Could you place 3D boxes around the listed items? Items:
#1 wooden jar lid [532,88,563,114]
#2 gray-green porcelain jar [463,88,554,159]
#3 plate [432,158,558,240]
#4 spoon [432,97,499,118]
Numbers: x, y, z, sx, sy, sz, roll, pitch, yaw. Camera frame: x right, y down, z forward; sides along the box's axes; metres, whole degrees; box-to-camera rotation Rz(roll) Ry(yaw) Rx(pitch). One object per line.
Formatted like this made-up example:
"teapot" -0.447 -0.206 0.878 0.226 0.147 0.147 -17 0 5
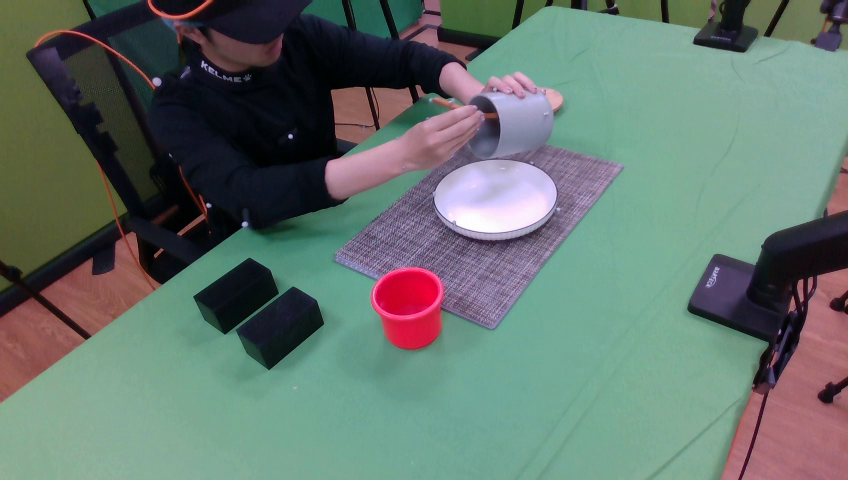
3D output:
"wooden jar lid" 0.237 -0.286 1.271 0.108 0.021 0.108 -5 42 5
"gray-green porcelain jar" 0.146 -0.198 1.015 0.127 0.106 0.105 -15 39 -31
"plate" 0.118 -0.066 1.013 0.207 0.039 0.206 -4 41 4
"spoon" 0.092 -0.200 0.954 0.195 0.021 0.041 1 18 -36
